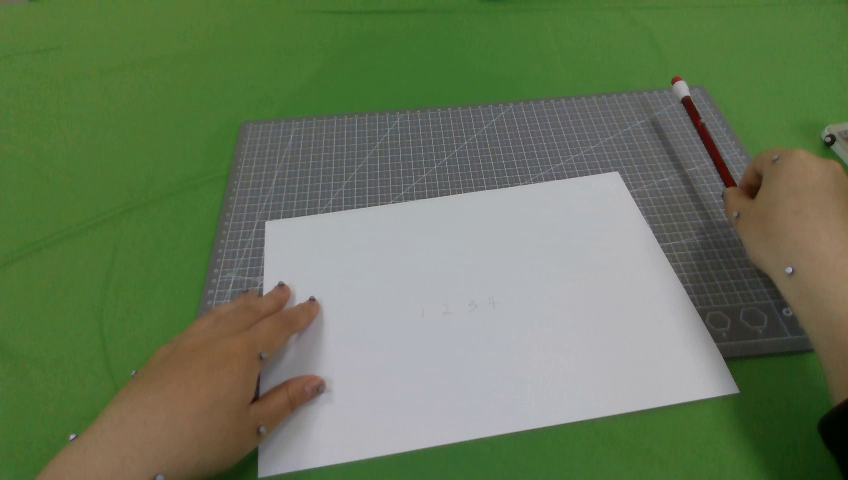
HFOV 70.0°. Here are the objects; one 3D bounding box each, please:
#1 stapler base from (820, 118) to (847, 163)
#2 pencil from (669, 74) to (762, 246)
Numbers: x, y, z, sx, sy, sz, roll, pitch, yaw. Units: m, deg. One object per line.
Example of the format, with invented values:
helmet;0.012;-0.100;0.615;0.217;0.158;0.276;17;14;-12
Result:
stapler base;0.379;-0.063;0.493;0.041;0.025;0.129;-10;50;-3
pencil;0.230;-0.071;0.484;0.012;0.012;0.192;-5;52;-1
